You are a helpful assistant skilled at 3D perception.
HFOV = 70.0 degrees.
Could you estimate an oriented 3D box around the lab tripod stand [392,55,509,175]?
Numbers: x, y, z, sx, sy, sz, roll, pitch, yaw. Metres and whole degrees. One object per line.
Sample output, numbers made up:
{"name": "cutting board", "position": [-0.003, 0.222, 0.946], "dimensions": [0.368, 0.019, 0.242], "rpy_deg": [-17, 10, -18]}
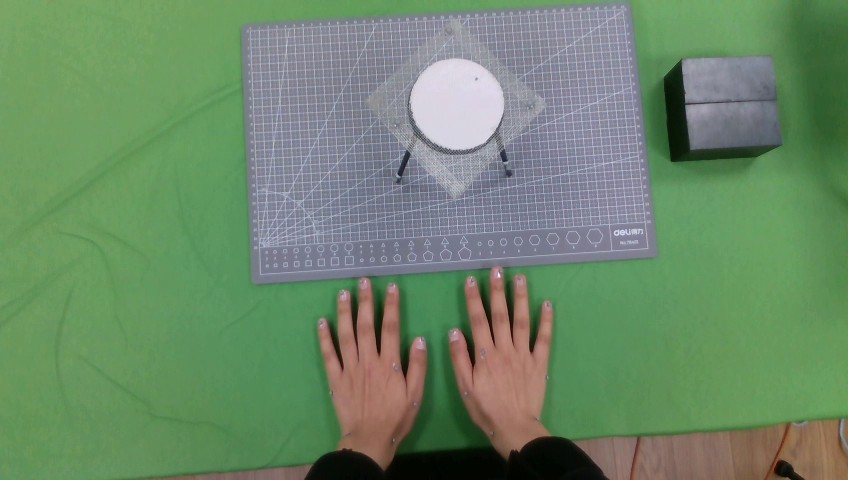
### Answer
{"name": "lab tripod stand", "position": [0.030, -0.119, 0.618], "dimensions": [0.148, 0.131, 0.148], "rpy_deg": [0, 83, -3]}

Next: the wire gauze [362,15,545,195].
{"name": "wire gauze", "position": [0.027, -0.126, 0.552], "dimensions": [0.121, 0.011, 0.125], "rpy_deg": [-44, 87, -5]}
